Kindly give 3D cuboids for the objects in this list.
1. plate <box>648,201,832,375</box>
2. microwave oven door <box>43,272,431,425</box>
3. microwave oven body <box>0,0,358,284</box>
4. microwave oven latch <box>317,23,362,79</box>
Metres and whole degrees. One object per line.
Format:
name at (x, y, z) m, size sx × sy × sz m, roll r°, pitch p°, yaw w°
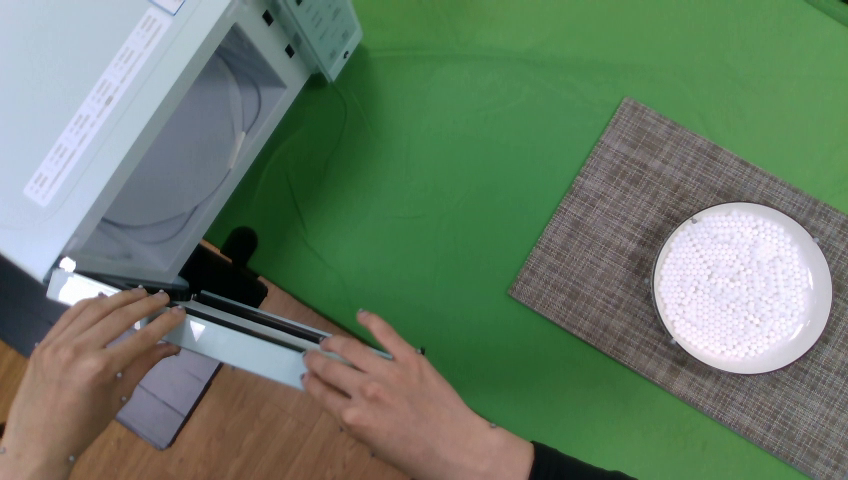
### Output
plate at (0.377, 0.058, 0.735) m, size 0.209 × 0.038 × 0.208 m, roll -1°, pitch 82°, yaw 5°
microwave oven door at (-0.174, 0.108, 0.657) m, size 0.355 × 0.244 × 0.039 m, roll 18°, pitch 84°, yaw 6°
microwave oven body at (-0.341, -0.197, 0.713) m, size 0.325 × 0.261 × 0.441 m, roll 32°, pitch 87°, yaw 7°
microwave oven latch at (-0.114, -0.255, 0.802) m, size 0.030 × 0.029 × 0.079 m, roll 35°, pitch 87°, yaw 7°
